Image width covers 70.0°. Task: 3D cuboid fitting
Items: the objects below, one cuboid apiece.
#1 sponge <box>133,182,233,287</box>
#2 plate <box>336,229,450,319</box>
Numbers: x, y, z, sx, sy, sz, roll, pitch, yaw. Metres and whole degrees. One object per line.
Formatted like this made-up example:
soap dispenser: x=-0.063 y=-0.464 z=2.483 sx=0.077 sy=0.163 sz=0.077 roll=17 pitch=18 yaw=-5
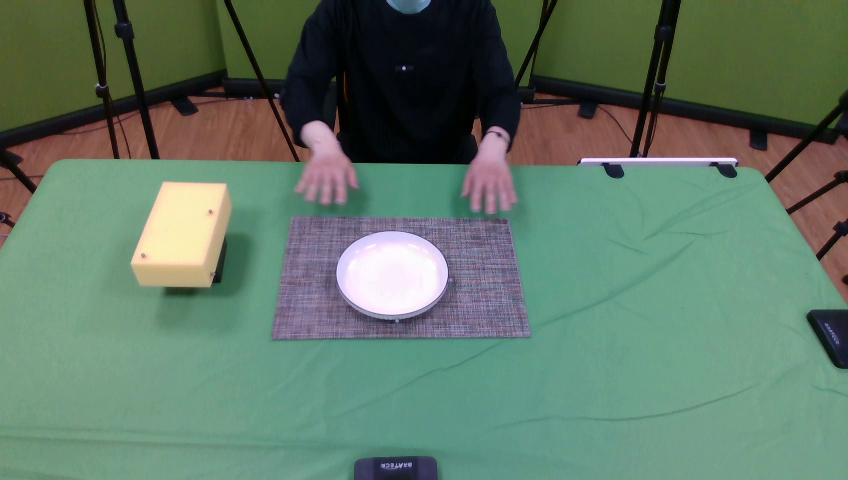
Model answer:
sponge: x=-0.424 y=-0.013 z=1.084 sx=0.118 sy=0.061 sz=0.205 roll=0 pitch=46 yaw=-3
plate: x=-0.056 y=0.065 z=1.113 sx=0.208 sy=0.039 sz=0.206 roll=2 pitch=46 yaw=-2
